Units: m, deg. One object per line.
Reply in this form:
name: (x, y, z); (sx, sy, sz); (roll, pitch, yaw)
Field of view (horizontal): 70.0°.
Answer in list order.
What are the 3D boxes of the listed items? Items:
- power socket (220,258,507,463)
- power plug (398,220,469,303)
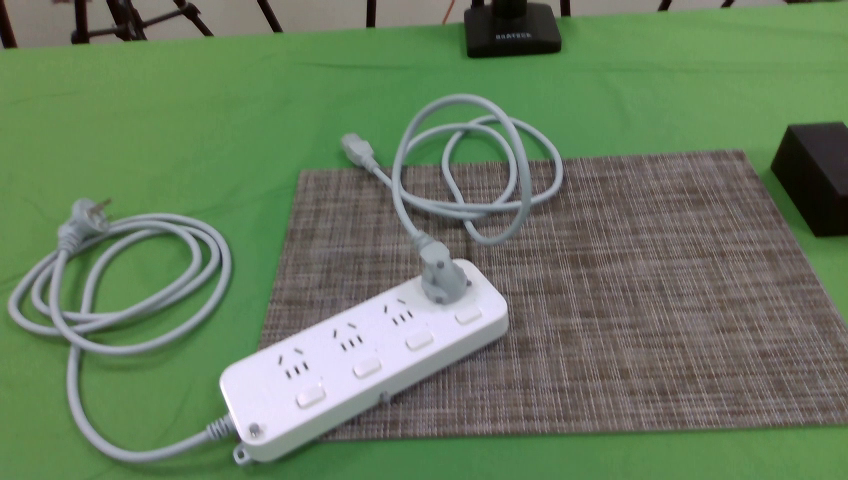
power socket: (-0.039, 0.081, 0.446); (0.227, 0.033, 0.071); (-25, 49, -18)
power plug: (0.009, 0.018, 0.472); (0.035, 0.053, 0.072); (-17, 48, -10)
